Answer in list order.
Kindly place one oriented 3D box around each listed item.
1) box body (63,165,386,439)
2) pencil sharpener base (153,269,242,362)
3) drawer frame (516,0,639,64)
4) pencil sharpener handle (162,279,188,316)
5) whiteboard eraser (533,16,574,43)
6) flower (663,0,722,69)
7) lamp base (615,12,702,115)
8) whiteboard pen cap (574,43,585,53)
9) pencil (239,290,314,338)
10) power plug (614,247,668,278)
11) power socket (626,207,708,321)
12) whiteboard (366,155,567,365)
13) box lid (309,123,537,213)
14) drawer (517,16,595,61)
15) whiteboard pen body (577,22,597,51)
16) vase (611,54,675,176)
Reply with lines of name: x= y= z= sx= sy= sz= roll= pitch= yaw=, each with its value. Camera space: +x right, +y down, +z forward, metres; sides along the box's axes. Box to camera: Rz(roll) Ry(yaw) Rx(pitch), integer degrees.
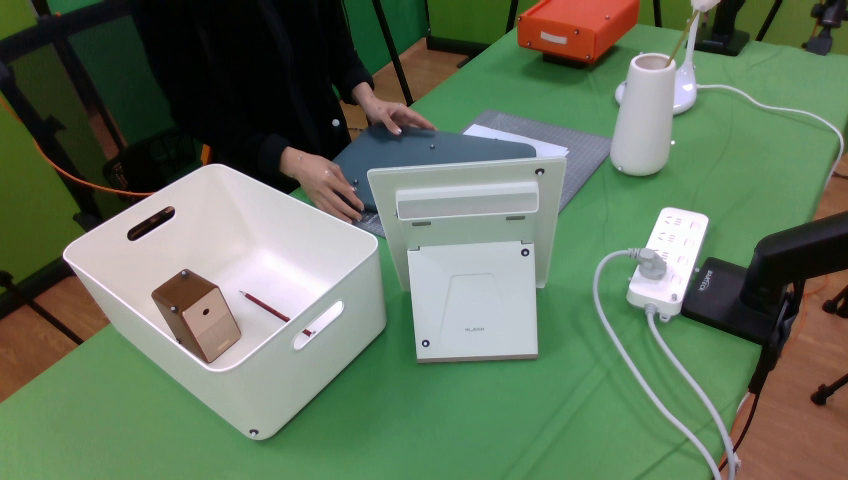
box body: x=-0.257 y=0.068 z=0.824 sx=0.361 sy=0.161 sz=0.255 roll=24 pitch=49 yaw=31
pencil sharpener base: x=-0.308 y=0.103 z=0.824 sx=0.076 sy=0.107 sz=0.061 roll=22 pitch=50 yaw=32
drawer frame: x=0.356 y=-0.507 z=1.410 sx=0.200 sy=0.083 sz=0.214 roll=25 pitch=51 yaw=32
pencil sharpener handle: x=-0.350 y=0.077 z=0.841 sx=0.030 sy=0.068 sz=0.036 roll=22 pitch=47 yaw=32
whiteboard eraser: x=0.305 y=-0.493 z=1.422 sx=0.055 sy=0.042 sz=0.113 roll=27 pitch=43 yaw=25
flower: x=0.379 y=-0.261 z=0.965 sx=0.044 sy=0.362 sz=0.038 roll=21 pitch=53 yaw=5
lamp base: x=0.484 y=-0.364 z=1.211 sx=0.180 sy=0.181 sz=0.159 roll=-15 pitch=41 yaw=-14
whiteboard pen cap: x=0.346 y=-0.430 z=1.350 sx=0.018 sy=0.018 sz=0.033 roll=16 pitch=38 yaw=25
pencil: x=-0.207 y=0.111 z=0.873 sx=0.192 sy=0.012 sz=0.012 roll=24 pitch=49 yaw=31
power plug: x=0.306 y=0.031 z=0.851 sx=0.072 sy=0.053 sz=0.035 roll=24 pitch=49 yaw=33
power socket: x=0.359 y=0.025 z=0.886 sx=0.072 sy=0.033 sz=0.227 roll=16 pitch=46 yaw=26
whiteboard: x=0.059 y=0.050 z=0.738 sx=0.217 sy=0.307 sz=0.143 roll=-3 pitch=60 yaw=5
box lid: x=0.002 y=-0.125 z=1.110 sx=0.369 sy=0.015 sz=0.263 roll=13 pitch=45 yaw=22
drawer: x=0.353 y=-0.505 z=1.404 sx=0.193 sy=0.073 sz=0.212 roll=25 pitch=50 yaw=33
whiteboard pen body: x=0.373 y=-0.468 z=1.390 sx=0.017 sy=0.017 sz=0.141 roll=14 pitch=47 yaw=23
vase: x=0.377 y=-0.209 z=1.031 sx=0.098 sy=0.201 sz=0.097 roll=-3 pitch=40 yaw=3
